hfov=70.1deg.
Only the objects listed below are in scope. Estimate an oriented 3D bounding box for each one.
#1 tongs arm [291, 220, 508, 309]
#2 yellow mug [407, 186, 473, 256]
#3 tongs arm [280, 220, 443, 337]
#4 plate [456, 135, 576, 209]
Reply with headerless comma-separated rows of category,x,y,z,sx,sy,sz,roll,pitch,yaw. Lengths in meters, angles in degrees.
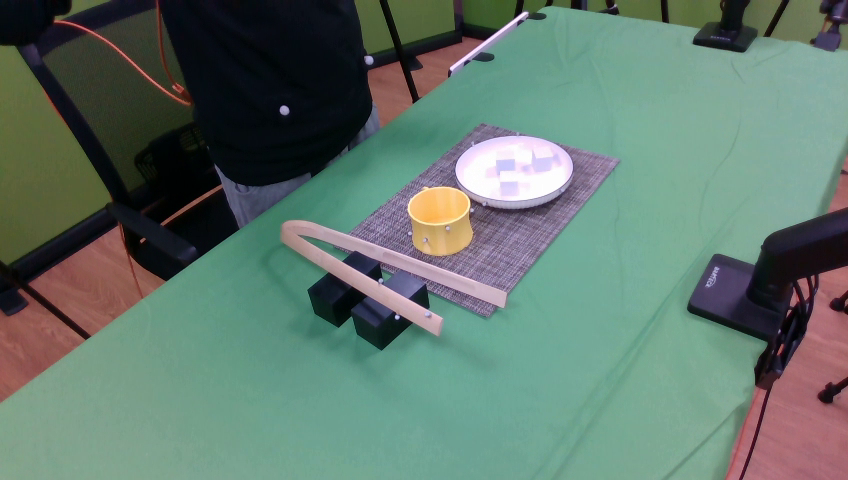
tongs arm,-0.049,0.031,0.924,0.385,0.028,0.028,18,25,26
yellow mug,0.021,-0.040,0.973,0.100,0.064,0.129,-19,41,-12
tongs arm,-0.101,0.043,0.861,0.381,0.026,0.051,24,24,38
plate,0.161,-0.116,1.064,0.207,0.039,0.206,-4,40,4
